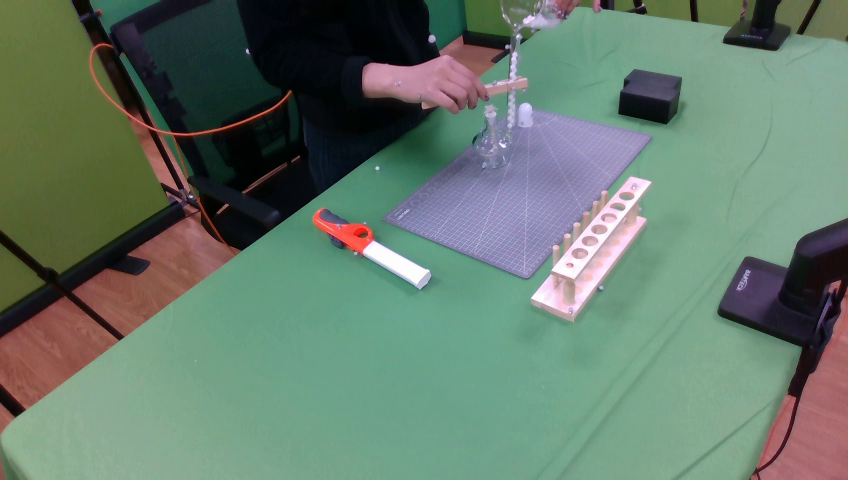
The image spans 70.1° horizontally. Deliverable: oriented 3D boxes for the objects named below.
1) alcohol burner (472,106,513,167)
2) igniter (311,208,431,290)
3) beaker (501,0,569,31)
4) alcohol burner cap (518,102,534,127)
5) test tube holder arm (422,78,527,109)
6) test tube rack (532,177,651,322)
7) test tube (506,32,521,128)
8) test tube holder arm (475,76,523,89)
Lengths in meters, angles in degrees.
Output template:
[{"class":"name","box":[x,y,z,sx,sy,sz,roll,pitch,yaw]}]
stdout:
[{"class":"alcohol burner","box":[0.125,-0.194,1.111,0.078,0.119,0.077,-5,42,5]},{"class":"igniter","box":[-0.096,0.008,0.985,0.274,0.025,0.057,29,63,36]},{"class":"beaker","box":[0.176,-0.366,0.946,0.073,0.084,0.101,28,26,29]},{"class":"alcohol burner cap","box":[0.205,-0.255,1.223,0.034,0.048,0.033,-6,41,6]},{"class":"test tube holder arm","box":[0.081,-0.230,0.943,0.179,0.015,0.013,-16,27,-17]},{"class":"test tube rack","box":[0.248,0.003,0.883,0.066,0.085,0.243,22,49,32]},{"class":"test tube","box":[0.142,-0.253,0.965,0.017,0.150,0.017,0,28,1]},{"class":"test tube holder arm","box":[0.119,-0.245,0.962,0.088,0.015,0.010,-20,29,-23]}]
